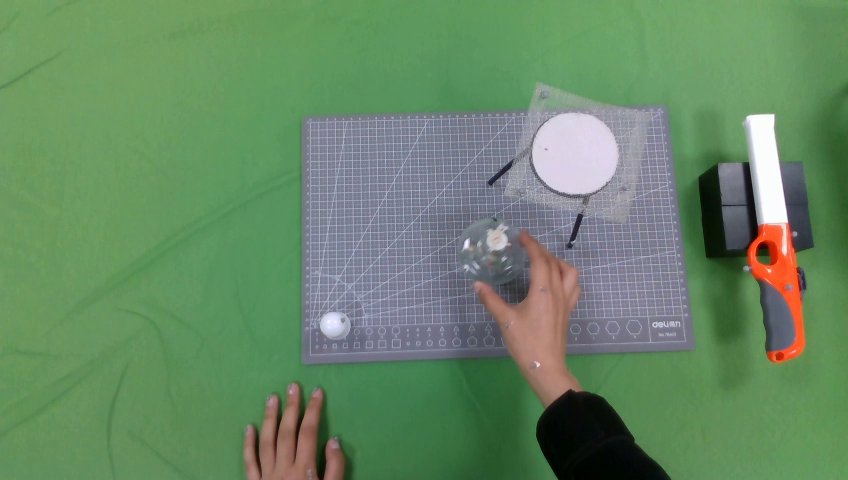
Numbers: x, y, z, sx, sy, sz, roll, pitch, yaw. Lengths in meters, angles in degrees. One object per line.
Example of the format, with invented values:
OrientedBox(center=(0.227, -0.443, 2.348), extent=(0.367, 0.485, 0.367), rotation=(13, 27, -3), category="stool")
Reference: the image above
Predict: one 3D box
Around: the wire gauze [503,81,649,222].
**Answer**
OrientedBox(center=(0.152, -0.088, 0.599), extent=(0.121, 0.011, 0.124), rotation=(17, 78, 2), category="wire gauze")

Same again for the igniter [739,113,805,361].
OrientedBox(center=(0.380, -0.007, 0.666), extent=(0.057, 0.025, 0.275), rotation=(-2, 79, 5), category="igniter")

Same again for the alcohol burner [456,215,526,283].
OrientedBox(center=(0.074, 0.007, 0.658), extent=(0.078, 0.119, 0.077), rotation=(0, 81, 0), category="alcohol burner")

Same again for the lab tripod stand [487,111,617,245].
OrientedBox(center=(0.149, -0.077, 0.665), extent=(0.148, 0.132, 0.147), rotation=(0, 77, 0), category="lab tripod stand")

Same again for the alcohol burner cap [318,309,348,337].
OrientedBox(center=(-0.103, 0.091, 0.675), extent=(0.034, 0.048, 0.033), rotation=(0, 79, -2), category="alcohol burner cap")
